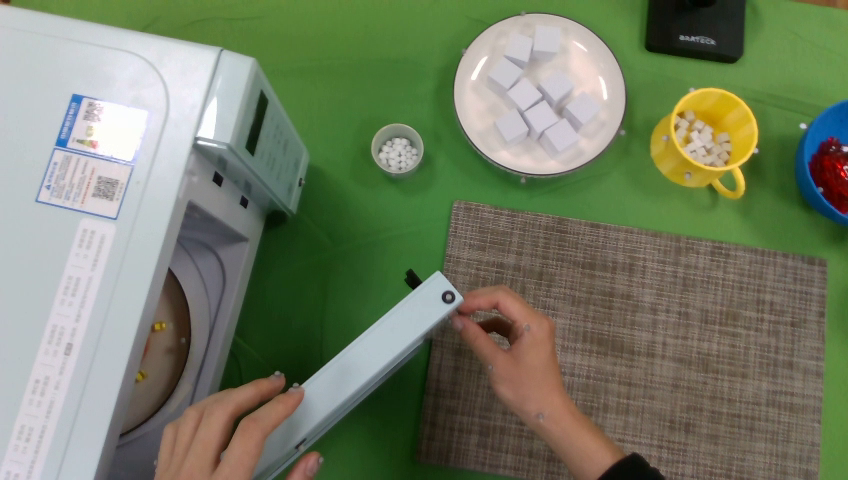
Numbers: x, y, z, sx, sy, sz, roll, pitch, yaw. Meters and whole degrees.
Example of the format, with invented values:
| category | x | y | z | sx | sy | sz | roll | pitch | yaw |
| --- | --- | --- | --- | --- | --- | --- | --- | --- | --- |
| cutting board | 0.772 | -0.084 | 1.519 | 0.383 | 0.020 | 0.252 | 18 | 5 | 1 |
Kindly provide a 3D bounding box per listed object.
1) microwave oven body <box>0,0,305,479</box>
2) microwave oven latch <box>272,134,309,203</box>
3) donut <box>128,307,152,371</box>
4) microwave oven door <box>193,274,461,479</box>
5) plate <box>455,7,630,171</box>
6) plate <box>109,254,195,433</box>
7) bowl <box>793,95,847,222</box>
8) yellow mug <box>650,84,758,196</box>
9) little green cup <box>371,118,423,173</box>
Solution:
| category | x | y | z | sx | sy | sz | roll | pitch | yaw |
| --- | --- | --- | --- | --- | --- | --- | --- | --- | --- |
| microwave oven body | -0.339 | 0.037 | 0.579 | 0.326 | 0.261 | 0.440 | 12 | 81 | 1 |
| microwave oven latch | -0.156 | -0.085 | 0.699 | 0.030 | 0.029 | 0.079 | 16 | 81 | 2 |
| donut | -0.324 | 0.091 | 0.609 | 0.099 | 0.048 | 0.099 | 0 | 83 | -1 |
| microwave oven door | -0.114 | 0.163 | 0.554 | 0.355 | 0.244 | 0.039 | -40 | 81 | -7 |
| plate | 0.141 | -0.180 | 0.737 | 0.208 | 0.039 | 0.207 | 0 | 80 | 0 |
| plate | -0.337 | 0.094 | 0.623 | 0.209 | 0.038 | 0.208 | 0 | 81 | -1 |
| bowl | 0.492 | -0.084 | 0.702 | 0.151 | 0.077 | 0.151 | 0 | 80 | 0 |
| yellow mug | 0.335 | -0.110 | 0.712 | 0.100 | 0.064 | 0.130 | -27 | 82 | -5 |
| little green cup | -0.031 | -0.110 | 0.722 | 0.061 | 0.039 | 0.061 | 0 | 81 | 0 |
